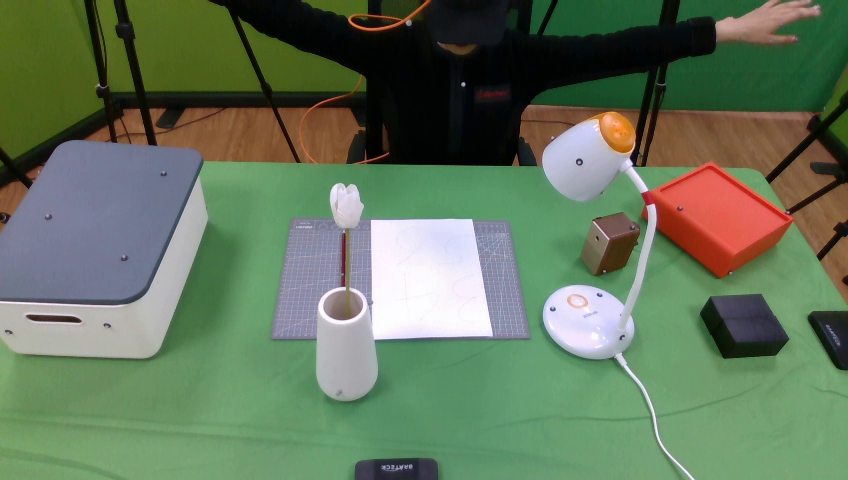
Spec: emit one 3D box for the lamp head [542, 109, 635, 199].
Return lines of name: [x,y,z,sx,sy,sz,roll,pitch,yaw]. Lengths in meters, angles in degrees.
lamp head: [0.253,-0.131,0.893,0.113,0.123,0.112,10,66,-24]

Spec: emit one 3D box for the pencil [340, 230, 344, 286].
pencil: [-0.154,0.044,1.148,0.012,0.012,0.192,-1,44,-5]

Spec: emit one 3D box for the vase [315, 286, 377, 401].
vase: [-0.119,0.159,0.911,0.098,0.201,0.097,2,47,-2]

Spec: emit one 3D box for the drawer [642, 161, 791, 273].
drawer: [0.596,-0.051,1.246,0.194,0.073,0.210,-23,53,-25]

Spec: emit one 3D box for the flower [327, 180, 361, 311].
flower: [-0.111,0.086,0.867,0.044,0.363,0.038,22,33,35]

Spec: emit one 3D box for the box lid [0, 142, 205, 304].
box lid: [-0.534,-0.044,0.995,0.263,0.015,0.369,3,45,-3]

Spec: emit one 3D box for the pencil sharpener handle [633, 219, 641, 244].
pencil sharpener handle: [0.405,-0.015,1.162,0.031,0.068,0.035,-15,44,-18]

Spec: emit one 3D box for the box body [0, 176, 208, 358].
box body: [-0.546,0.017,1.045,0.254,0.161,0.361,2,46,-2]

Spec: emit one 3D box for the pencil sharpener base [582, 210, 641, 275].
pencil sharpener base: [0.357,0.005,1.156,0.077,0.107,0.061,-15,48,-18]

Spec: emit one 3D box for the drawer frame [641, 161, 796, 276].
drawer frame: [0.599,-0.051,1.244,0.202,0.083,0.212,-24,52,-25]

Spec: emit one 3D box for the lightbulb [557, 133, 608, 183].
lightbulb: [0.243,-0.127,0.917,0.060,0.108,0.059,6,67,-14]

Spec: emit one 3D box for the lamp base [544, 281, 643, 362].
lamp base: [0.303,0.095,1.014,0.161,0.181,0.178,-24,54,-24]
